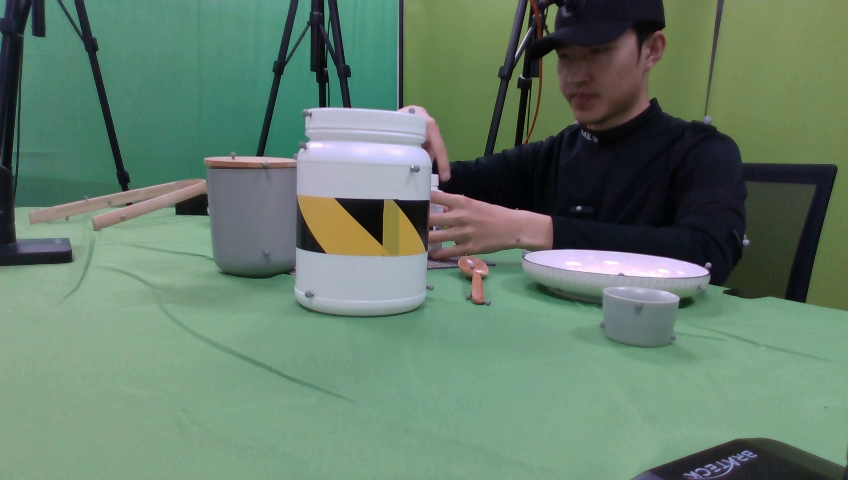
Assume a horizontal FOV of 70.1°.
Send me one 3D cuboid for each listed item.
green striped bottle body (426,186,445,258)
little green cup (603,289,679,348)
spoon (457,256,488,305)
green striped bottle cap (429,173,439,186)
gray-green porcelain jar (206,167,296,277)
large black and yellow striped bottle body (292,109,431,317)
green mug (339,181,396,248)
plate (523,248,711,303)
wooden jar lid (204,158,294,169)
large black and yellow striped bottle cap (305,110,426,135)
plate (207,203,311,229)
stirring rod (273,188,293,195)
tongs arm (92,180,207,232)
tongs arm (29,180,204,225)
[{"bbox_3d":[-0.002,-0.036,0.902,0.063,0.119,0.063,3,7,0],"label":"green striped bottle body"},{"bbox_3d":[0.179,0.065,0.505,0.061,0.038,0.061,2,6,0],"label":"little green cup"},{"bbox_3d":[0.059,0.044,0.696,0.041,0.021,0.193,21,7,0],"label":"spoon"},{"bbox_3d":[0.000,-0.090,0.895,0.044,0.020,0.044,7,4,0],"label":"green striped bottle cap"},{"bbox_3d":[-0.201,-0.024,0.724,0.106,0.126,0.106,-1,9,1],"label":"gray-green porcelain jar"},{"bbox_3d":[-0.060,-0.028,0.584,0.131,0.184,0.130,3,7,0],"label":"large black and yellow striped bottle body"},{"bbox_3d":[-0.097,-0.044,0.994,0.093,0.105,0.125,-1,7,-20],"label":"green mug"},{"bbox_3d":[0.219,0.042,0.706,0.209,0.038,0.209,2,7,0],"label":"plate"},{"bbox_3d":[-0.202,-0.086,0.714,0.108,0.020,0.108,3,11,0],"label":"wooden jar lid"},{"bbox_3d":[-0.055,-0.110,0.574,0.115,0.019,0.115,1,7,0],"label":"large black and yellow striped bottle cap"},{"bbox_3d":[-0.342,-0.050,1.259,0.208,0.039,0.207,3,7,0],"label":"plate"},{"bbox_3d":[-0.353,-0.122,1.519,0.006,0.014,0.176,1,7,1],"label":"stirring rod"},{"bbox_3d":[-0.534,-0.076,1.221,0.028,0.028,0.388,-2,15,12],"label":"tongs arm"},{"bbox_3d":[-0.609,-0.083,1.245,0.050,0.026,0.386,5,16,23],"label":"tongs arm"}]
